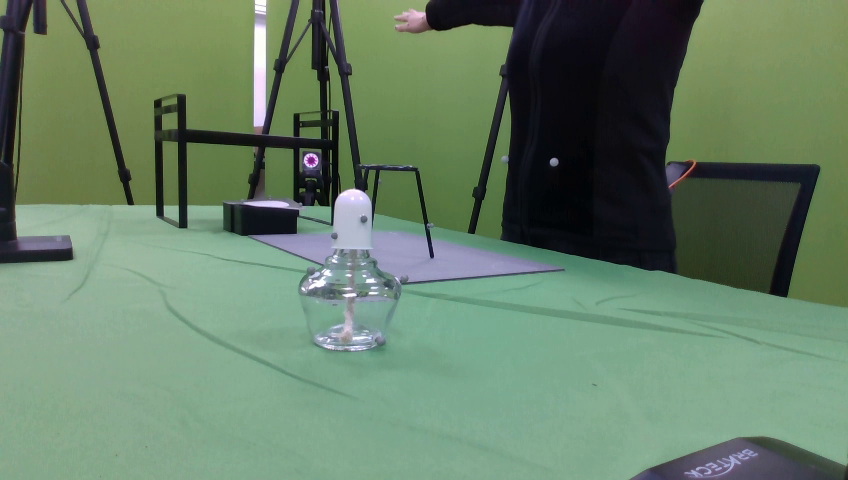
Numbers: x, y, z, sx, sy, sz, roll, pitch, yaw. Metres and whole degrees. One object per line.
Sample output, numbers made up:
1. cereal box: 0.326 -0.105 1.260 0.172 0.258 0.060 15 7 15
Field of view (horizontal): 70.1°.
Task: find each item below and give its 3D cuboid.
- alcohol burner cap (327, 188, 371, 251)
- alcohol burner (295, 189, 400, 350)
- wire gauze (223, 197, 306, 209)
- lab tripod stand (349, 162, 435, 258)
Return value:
1. alcohol burner cap: -0.055 -0.015 0.448 0.034 0.048 0.034 0 1 0
2. alcohol burner: -0.056 0.021 0.453 0.078 0.119 0.078 3 6 0
3. wire gauze: -0.291 -0.068 1.098 0.126 0.011 0.121 -2 10 -28
4. lab tripod stand: -0.055 -0.044 0.863 0.148 0.131 0.148 3 9 0
